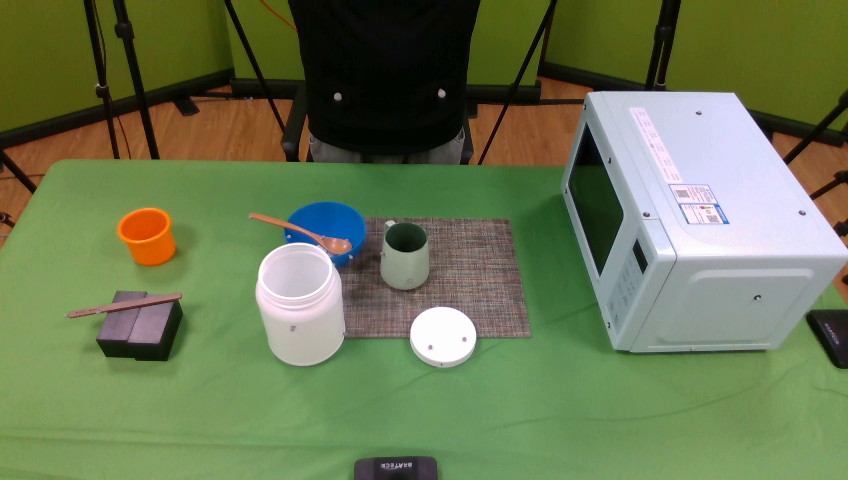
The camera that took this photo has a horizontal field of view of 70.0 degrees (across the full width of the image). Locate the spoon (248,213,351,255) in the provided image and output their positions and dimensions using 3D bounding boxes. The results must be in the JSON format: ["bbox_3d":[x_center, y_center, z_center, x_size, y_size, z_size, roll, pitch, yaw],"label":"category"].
[{"bbox_3d":[-0.228,-0.014,1.113,0.194,0.022,0.041,23,41,-15],"label":"spoon"}]

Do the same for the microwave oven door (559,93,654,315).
[{"bbox_3d":[0.327,-0.074,1.123,0.039,0.245,0.353,-1,46,-5],"label":"microwave oven door"}]

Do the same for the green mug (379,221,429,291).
[{"bbox_3d":[-0.043,0.020,1.116,0.092,0.105,0.124,-20,50,-22],"label":"green mug"}]

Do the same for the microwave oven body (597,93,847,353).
[{"bbox_3d":[0.475,-0.041,1.110,0.326,0.261,0.438,-1,45,-4],"label":"microwave oven body"}]

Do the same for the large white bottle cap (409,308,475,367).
[{"bbox_3d":[0.031,0.166,1.041,0.115,0.018,0.114,2,47,-2],"label":"large white bottle cap"}]

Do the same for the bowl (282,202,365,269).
[{"bbox_3d":[-0.185,0.006,1.137,0.151,0.077,0.150,3,46,-3],"label":"bowl"}]

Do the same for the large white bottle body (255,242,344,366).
[{"bbox_3d":[-0.196,0.102,0.967,0.131,0.185,0.130,2,49,-2],"label":"large white bottle body"}]

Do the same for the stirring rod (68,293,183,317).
[{"bbox_3d":[-0.491,0.107,1.001,0.176,0.006,0.014,-9,43,-14],"label":"stirring rod"}]

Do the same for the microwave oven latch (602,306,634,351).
[{"bbox_3d":[0.332,0.153,1.044,0.030,0.029,0.078,0,45,-4],"label":"microwave oven latch"}]
